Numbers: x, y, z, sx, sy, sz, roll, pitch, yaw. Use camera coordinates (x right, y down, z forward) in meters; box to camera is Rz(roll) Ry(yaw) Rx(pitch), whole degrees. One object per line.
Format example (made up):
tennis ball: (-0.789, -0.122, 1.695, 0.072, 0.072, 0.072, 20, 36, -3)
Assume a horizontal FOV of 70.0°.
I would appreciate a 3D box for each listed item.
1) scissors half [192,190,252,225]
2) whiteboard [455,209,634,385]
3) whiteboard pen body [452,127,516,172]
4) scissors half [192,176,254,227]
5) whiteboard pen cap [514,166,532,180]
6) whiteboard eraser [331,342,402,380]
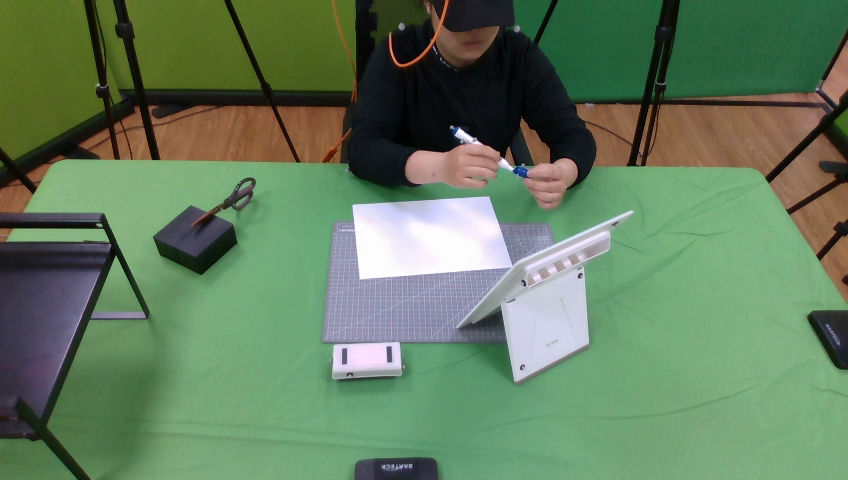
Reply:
scissors half: (-0.394, -0.060, 1.187, 0.013, 0.040, 0.175, 25, 29, 12)
whiteboard: (0.211, 0.111, 0.955, 0.217, 0.306, 0.143, -21, 71, -23)
whiteboard pen body: (0.111, -0.164, 1.106, 0.141, 0.017, 0.017, 32, 47, -10)
scissors half: (-0.388, -0.075, 1.174, 0.013, 0.040, 0.174, 29, 47, 8)
whiteboard pen cap: (0.184, -0.125, 1.124, 0.033, 0.018, 0.018, 22, 41, -24)
whiteboard eraser: (-0.094, 0.198, 0.986, 0.113, 0.042, 0.055, -2, 44, -6)
